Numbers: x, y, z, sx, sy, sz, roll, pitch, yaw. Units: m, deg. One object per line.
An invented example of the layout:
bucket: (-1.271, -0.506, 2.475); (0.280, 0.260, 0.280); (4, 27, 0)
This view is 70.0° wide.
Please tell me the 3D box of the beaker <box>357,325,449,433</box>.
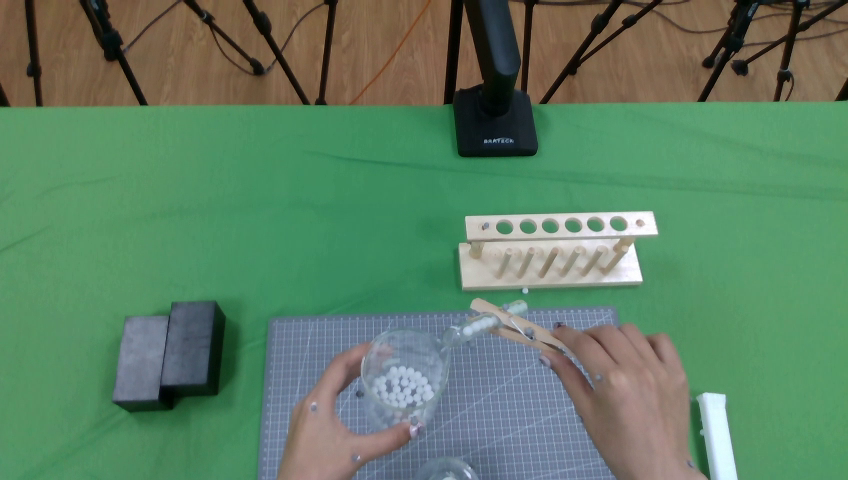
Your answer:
beaker: (-0.019, 0.128, 0.549); (0.084, 0.101, 0.073); (-25, 65, -20)

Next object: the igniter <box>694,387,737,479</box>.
igniter: (0.341, 0.305, 0.682); (0.057, 0.025, 0.274); (9, 62, -10)

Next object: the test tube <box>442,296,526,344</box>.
test tube: (0.056, 0.066, 0.524); (0.017, 0.017, 0.151); (47, 25, 19)

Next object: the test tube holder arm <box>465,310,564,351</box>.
test tube holder arm: (0.077, 0.077, 0.519); (0.087, 0.015, 0.010); (14, 103, 23)

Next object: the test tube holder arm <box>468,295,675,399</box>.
test tube holder arm: (0.118, 0.086, 0.501); (0.177, 0.015, 0.013); (22, 107, 20)

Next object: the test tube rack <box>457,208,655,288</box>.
test tube rack: (0.169, 0.011, 0.789); (0.243, 0.086, 0.066); (-2, 62, -5)

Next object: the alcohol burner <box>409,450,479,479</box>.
alcohol burner: (0.023, 0.257, 0.633); (0.078, 0.120, 0.077); (2, 60, -3)
